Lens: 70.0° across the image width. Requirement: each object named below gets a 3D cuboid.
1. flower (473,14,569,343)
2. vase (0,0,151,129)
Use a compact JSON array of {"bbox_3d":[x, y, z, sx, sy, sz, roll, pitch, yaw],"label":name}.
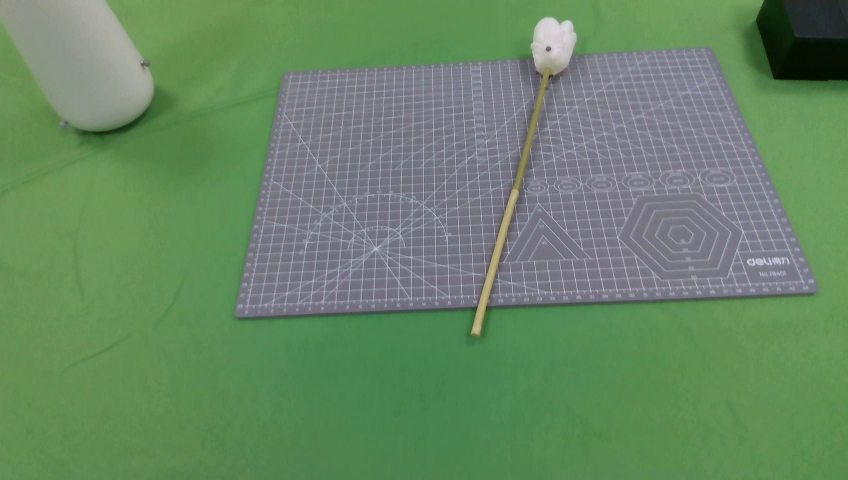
[{"bbox_3d":[0.086,-0.074,0.545,0.044,0.038,0.359,29,60,-21],"label":"flower"},{"bbox_3d":[-0.331,-0.199,0.553,0.098,0.202,0.097,-2,53,2],"label":"vase"}]
